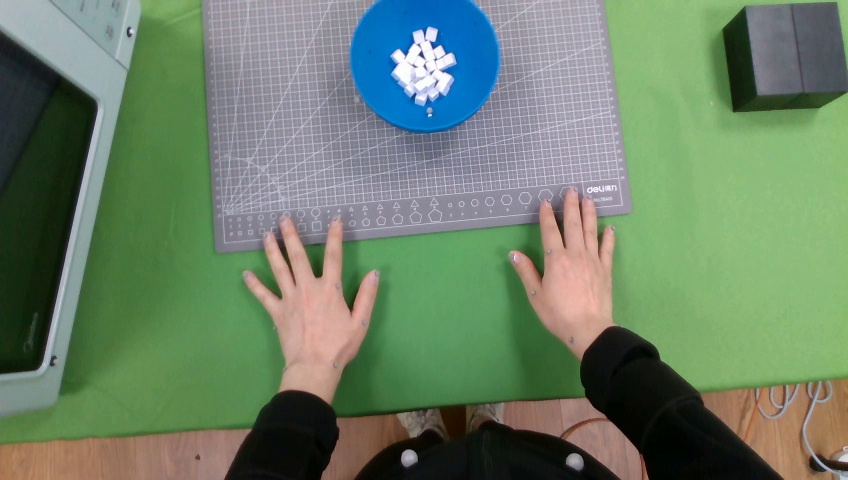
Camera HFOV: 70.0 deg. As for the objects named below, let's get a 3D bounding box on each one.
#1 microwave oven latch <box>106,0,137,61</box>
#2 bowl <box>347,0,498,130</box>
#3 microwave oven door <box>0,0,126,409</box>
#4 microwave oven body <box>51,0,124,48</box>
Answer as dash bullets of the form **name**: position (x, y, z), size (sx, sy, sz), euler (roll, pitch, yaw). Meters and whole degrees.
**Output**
- **microwave oven latch**: position (-0.326, -0.233, 0.639), size (0.030, 0.029, 0.079), euler (10, 83, 0)
- **bowl**: position (-0.002, -0.179, 0.635), size (0.151, 0.077, 0.151), euler (0, 83, -1)
- **microwave oven door**: position (-0.359, -0.032, 0.511), size (0.039, 0.244, 0.354), euler (8, 83, 1)
- **microwave oven body**: position (-0.497, -0.094, 0.521), size (0.326, 0.260, 0.440), euler (8, 83, -1)
